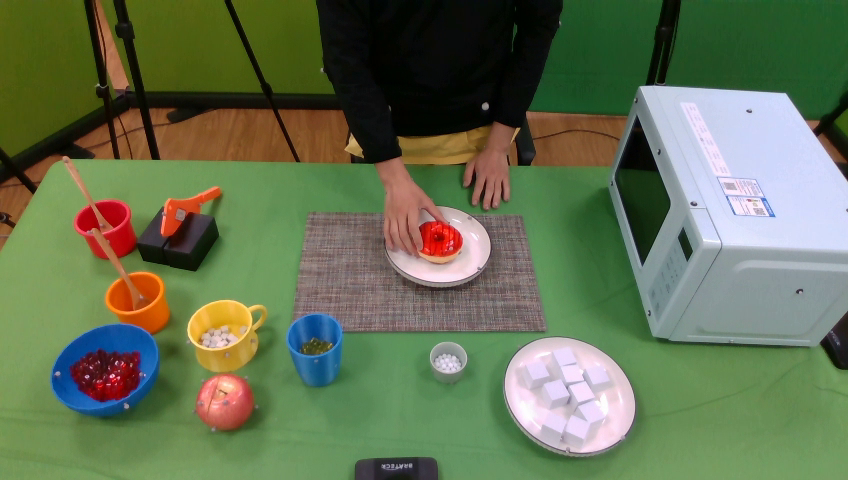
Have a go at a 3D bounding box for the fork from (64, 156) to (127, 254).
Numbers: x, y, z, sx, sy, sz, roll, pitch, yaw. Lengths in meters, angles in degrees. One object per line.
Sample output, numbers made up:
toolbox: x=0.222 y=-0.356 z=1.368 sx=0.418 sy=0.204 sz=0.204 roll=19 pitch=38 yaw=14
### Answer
fork: x=-0.614 y=-0.064 z=1.130 sx=0.028 sy=0.018 sz=0.207 roll=-29 pitch=97 yaw=-16

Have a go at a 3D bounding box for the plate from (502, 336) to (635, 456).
plate: x=0.225 y=0.248 z=0.963 sx=0.208 sy=0.039 sz=0.206 roll=2 pitch=46 yaw=-2

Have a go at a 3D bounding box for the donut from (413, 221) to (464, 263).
donut: x=0.028 y=0.003 z=1.164 sx=0.099 sy=0.048 sz=0.098 roll=3 pitch=46 yaw=-3

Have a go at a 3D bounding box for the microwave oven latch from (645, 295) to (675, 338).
microwave oven latch: x=0.412 y=0.134 z=1.061 sx=0.030 sy=0.029 sz=0.078 roll=3 pitch=45 yaw=0

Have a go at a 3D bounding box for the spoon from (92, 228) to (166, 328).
spoon: x=-0.495 y=0.063 z=1.014 sx=0.041 sy=0.194 sz=0.021 roll=-34 pitch=12 yaw=-31

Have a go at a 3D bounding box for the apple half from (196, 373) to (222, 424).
apple half: x=-0.322 y=0.239 z=0.907 sx=0.033 sy=0.081 sz=0.081 roll=7 pitch=46 yaw=-1

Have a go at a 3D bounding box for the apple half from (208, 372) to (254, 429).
apple half: x=-0.282 y=0.244 z=0.908 sx=0.053 sy=0.075 sz=0.080 roll=7 pitch=42 yaw=-1

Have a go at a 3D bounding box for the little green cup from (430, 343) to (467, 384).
little green cup: x=0.039 y=0.203 z=0.994 sx=0.061 sy=0.039 sz=0.061 roll=2 pitch=46 yaw=-2

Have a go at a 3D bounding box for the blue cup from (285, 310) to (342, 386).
blue cup: x=-0.170 y=0.179 z=0.959 sx=0.093 sy=0.101 sz=0.092 roll=1 pitch=44 yaw=-1

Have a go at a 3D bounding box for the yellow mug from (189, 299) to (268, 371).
yellow mug: x=-0.316 y=0.148 z=1.002 sx=0.131 sy=0.064 sz=0.099 roll=-32 pitch=56 yaw=-31

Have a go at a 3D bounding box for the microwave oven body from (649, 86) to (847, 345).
microwave oven body: x=0.568 y=-0.053 z=1.118 sx=0.326 sy=0.261 sz=0.439 roll=2 pitch=45 yaw=-1

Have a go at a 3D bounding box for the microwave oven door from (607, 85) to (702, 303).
microwave oven door: x=0.423 y=-0.094 z=1.141 sx=0.039 sy=0.245 sz=0.353 roll=2 pitch=46 yaw=-1

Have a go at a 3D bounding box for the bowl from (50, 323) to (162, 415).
bowl: x=-0.472 y=0.209 z=0.924 sx=0.151 sy=0.077 sz=0.150 roll=3 pitch=45 yaw=-2

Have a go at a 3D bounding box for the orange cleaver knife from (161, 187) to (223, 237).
orange cleaver knife: x=-0.448 y=-0.058 z=1.180 sx=0.012 sy=0.077 sz=0.211 roll=13 pitch=17 yaw=6

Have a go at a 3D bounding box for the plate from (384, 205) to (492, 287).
plate: x=0.027 y=0.015 z=1.169 sx=0.209 sy=0.038 sz=0.208 roll=2 pitch=46 yaw=-2
